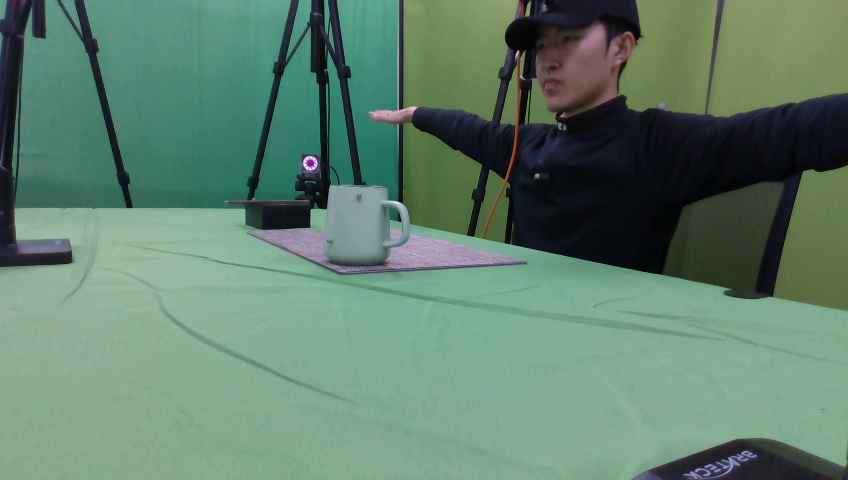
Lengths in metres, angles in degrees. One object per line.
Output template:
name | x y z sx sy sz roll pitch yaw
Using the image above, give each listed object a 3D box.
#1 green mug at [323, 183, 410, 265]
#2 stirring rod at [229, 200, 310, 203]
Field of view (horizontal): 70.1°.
green mug | -0.076 -0.022 0.817 0.125 0.105 0.093 5 7 26
stirring rod | -0.314 -0.080 1.240 0.177 0.006 0.014 -4 8 -40
